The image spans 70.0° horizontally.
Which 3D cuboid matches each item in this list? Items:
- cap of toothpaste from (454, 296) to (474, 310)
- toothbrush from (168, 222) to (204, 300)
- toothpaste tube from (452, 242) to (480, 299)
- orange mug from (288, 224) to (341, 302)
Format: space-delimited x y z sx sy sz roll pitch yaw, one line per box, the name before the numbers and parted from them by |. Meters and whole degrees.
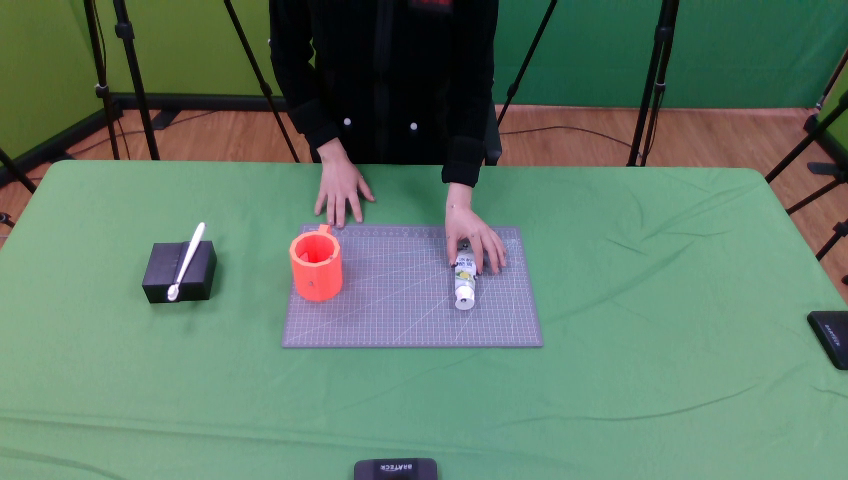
cap of toothpaste | 0.072 0.111 1.081 0.037 0.037 0.011 -2 46 -6
toothbrush | -0.419 0.032 1.070 0.014 0.017 0.180 2 46 2
toothpaste tube | 0.079 0.058 1.142 0.055 0.034 0.164 8 41 -3
orange mug | -0.192 0.034 1.094 0.083 0.101 0.125 7 50 2
